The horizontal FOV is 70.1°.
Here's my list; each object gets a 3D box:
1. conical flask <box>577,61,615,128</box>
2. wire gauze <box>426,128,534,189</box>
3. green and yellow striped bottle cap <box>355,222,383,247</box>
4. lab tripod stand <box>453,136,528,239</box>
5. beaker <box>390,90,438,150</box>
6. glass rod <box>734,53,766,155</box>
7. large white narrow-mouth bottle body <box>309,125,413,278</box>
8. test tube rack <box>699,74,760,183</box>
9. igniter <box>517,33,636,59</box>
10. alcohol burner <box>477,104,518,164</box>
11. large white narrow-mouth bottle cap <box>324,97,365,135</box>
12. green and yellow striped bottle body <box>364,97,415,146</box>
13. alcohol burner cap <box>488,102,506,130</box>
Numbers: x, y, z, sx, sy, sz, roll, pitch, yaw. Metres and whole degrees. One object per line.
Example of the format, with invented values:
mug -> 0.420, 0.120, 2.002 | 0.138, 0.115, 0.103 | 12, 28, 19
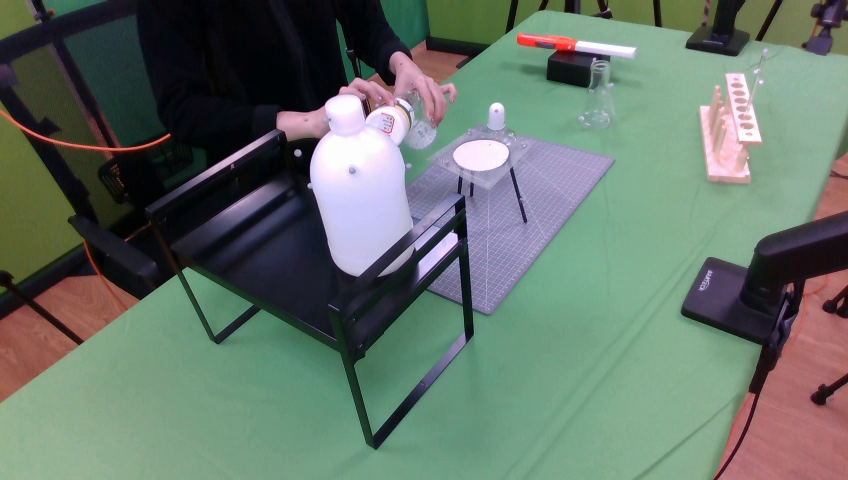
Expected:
conical flask -> 0.343, -0.288, 1.188 | 0.075, 0.122, 0.075 | -4, 41, 4
wire gauze -> 0.086, -0.131, 0.924 | 0.124, 0.011, 0.122 | 26, 52, 33
green and yellow striped bottle cap -> -0.092, -0.009, 1.001 | 0.045, 0.020, 0.045 | -3, 39, 3
lab tripod stand -> 0.095, -0.086, 0.974 | 0.148, 0.132, 0.147 | -4, 43, 4
beaker -> -0.020, -0.208, 1.060 | 0.073, 0.101, 0.084 | 30, 89, 21
glass rod -> 0.540, -0.220, 1.006 | 0.008, 0.201, 0.008 | -5, 45, 6
large white narrow-mouth bottle body -> -0.068, -0.057, 0.644 | 0.102, 0.195, 0.101 | -3, 42, 4
test tube rack -> 0.547, -0.208, 1.095 | 0.066, 0.085, 0.242 | 6, 42, 16
igniter -> 0.336, -0.441, 1.369 | 0.275, 0.025, 0.057 | 16, 41, 23
alcohol burner -> 0.135, -0.200, 1.117 | 0.078, 0.119, 0.077 | -4, 43, 4
large white narrow-mouth bottle cap -> -0.076, -0.121, 0.584 | 0.038, 0.024, 0.037 | -3, 42, 3
green and yellow striped bottle body -> -0.050, -0.189, 0.959 | 0.063, 0.063, 0.119 | 1, 23, 9
alcohol burner cap -> 0.133, -0.227, 1.092 | 0.034, 0.048, 0.033 | -1, 47, 2
